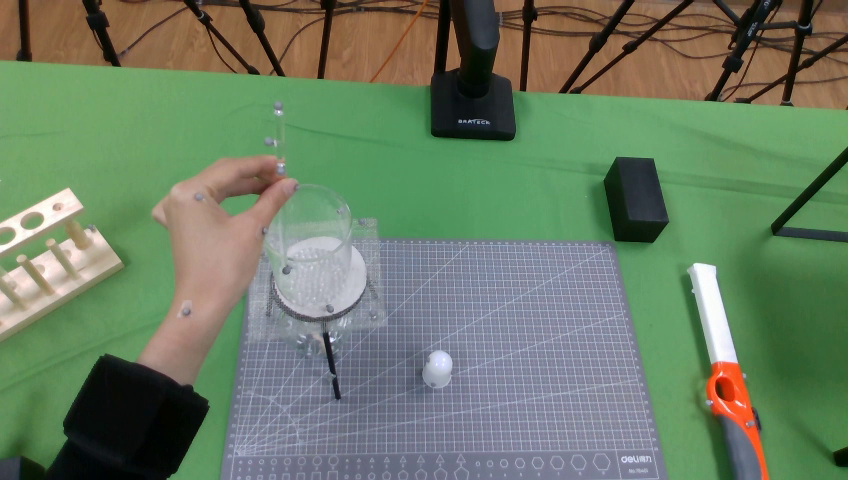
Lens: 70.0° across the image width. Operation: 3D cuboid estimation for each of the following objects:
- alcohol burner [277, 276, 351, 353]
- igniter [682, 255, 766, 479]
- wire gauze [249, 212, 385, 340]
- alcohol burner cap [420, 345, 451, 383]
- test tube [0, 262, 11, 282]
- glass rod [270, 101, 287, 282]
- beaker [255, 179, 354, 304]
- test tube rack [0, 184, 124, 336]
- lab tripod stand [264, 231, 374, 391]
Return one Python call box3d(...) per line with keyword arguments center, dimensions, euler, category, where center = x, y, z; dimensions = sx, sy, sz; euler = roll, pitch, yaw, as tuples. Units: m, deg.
box3d(center=(-0.114, 0.071, 0.629), dimensions=(0.078, 0.120, 0.077), euler=(4, 57, -5), category="alcohol burner")
box3d(center=(0.336, 0.141, 0.684), dimensions=(0.057, 0.025, 0.274), euler=(9, 59, -12), category="igniter")
box3d(center=(-0.102, 0.028, 0.567), dimensions=(0.121, 0.011, 0.124), euler=(-4, 63, -6), category="wire gauze")
box3d(center=(0.014, 0.131, 0.648), dimensions=(0.034, 0.048, 0.033), euler=(2, 59, -3), category="alcohol burner cap")
box3d(center=(-0.449, 0.000, 0.601), dimensions=(0.017, 0.151, 0.017), euler=(3, 54, -4), category="test tube")
box3d(center=(-0.115, -0.027, 0.481), dimensions=(0.008, 0.201, 0.008), euler=(6, 49, -6), category="glass rod")
box3d(center=(-0.102, 0.005, 0.524), dimensions=(0.084, 0.101, 0.073), euler=(23, 60, 8), category="beaker")
box3d(center=(-0.455, 0.048, 0.629), dimensions=(0.242, 0.086, 0.066), euler=(-37, 68, -24), category="test tube rack")
box3d(center=(-0.104, 0.066, 0.621), dimensions=(0.148, 0.132, 0.147), euler=(3, 59, -5), category="lab tripod stand")
